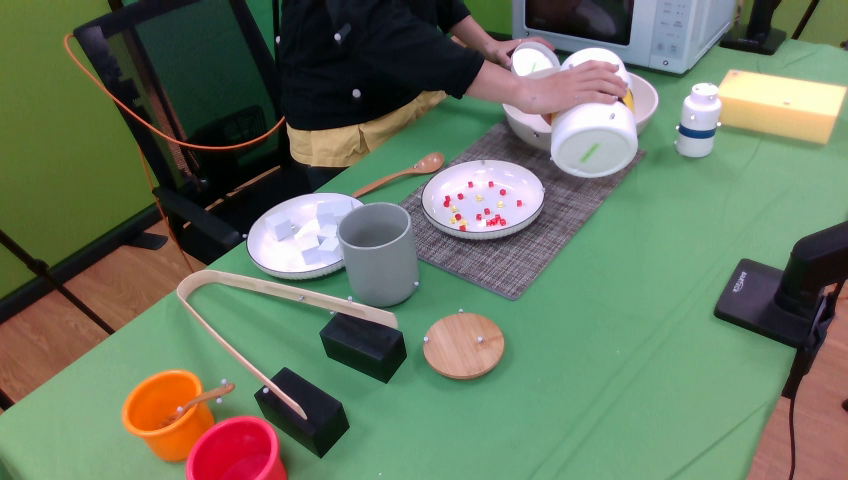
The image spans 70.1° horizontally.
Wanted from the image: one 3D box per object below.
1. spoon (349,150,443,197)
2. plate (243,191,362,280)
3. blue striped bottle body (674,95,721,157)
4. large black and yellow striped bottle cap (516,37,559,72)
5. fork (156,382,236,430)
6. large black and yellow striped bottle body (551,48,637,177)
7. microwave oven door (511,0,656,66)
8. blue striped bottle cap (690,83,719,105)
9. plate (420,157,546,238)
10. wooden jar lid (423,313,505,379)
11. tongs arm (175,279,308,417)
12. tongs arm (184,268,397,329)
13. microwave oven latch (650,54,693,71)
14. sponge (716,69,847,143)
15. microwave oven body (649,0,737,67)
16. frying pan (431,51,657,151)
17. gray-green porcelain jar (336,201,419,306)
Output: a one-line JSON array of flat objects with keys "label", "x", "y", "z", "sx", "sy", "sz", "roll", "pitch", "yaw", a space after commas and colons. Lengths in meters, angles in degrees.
[{"label": "spoon", "x": -0.051, "y": -0.123, "z": 1.120, "sx": 0.194, "sy": 0.022, "sz": 0.041, "roll": -22, "pitch": 59, "yaw": -18}, {"label": "plate", "x": -0.188, "y": -0.005, "z": 0.992, "sx": 0.207, "sy": 0.039, "sz": 0.206, "roll": -4, "pitch": 41, "yaw": 4}, {"label": "blue striped bottle body", "x": 0.486, "y": -0.213, "z": 1.071, "sx": 0.063, "sy": 0.121, "sz": 0.063, "roll": -4, "pitch": 41, "yaw": 4}, {"label": "large black and yellow striped bottle cap", "x": 0.251, "y": -0.395, "z": 1.330, "sx": 0.116, "sy": 0.018, "sz": 0.114, "roll": 18, "pitch": 56, "yaw": -28}, {"label": "fork", "x": -0.262, "y": 0.189, "z": 0.690, "sx": 0.018, "sy": 0.206, "sz": 0.028, "roll": 49, "pitch": 43, "yaw": -7}, {"label": "large black and yellow striped bottle body", "x": 0.275, "y": -0.210, "z": 0.986, "sx": 0.130, "sy": 0.131, "sz": 0.183, "roll": 2, "pitch": 57, "yaw": 10}, {"label": "microwave oven door", "x": 0.350, "y": -0.539, "z": 1.349, "sx": 0.353, "sy": 0.245, "sz": 0.039, "roll": 24, "pitch": 50, "yaw": 31}, {"label": "blue striped bottle cap", "x": 0.481, "y": -0.251, "z": 1.038, "sx": 0.044, "sy": 0.021, "sz": 0.044, "roll": -5, "pitch": 40, "yaw": 5}, {"label": "plate", "x": 0.099, "y": -0.067, "z": 1.017, "sx": 0.209, "sy": 0.038, "sz": 0.208, "roll": -4, "pitch": 40, "yaw": 4}, {"label": "wooden jar lid", "x": 0.053, "y": 0.142, "z": 0.800, "sx": 0.108, "sy": 0.021, "sz": 0.108, "roll": -5, "pitch": 39, "yaw": 4}, {"label": "tongs arm", "x": -0.255, "y": 0.131, "z": 0.800, "sx": 0.028, "sy": 0.028, "sz": 0.384, "roll": -40, "pitch": 40, "yaw": -24}, {"label": "tongs arm", "x": -0.203, "y": 0.084, "z": 0.847, "sx": 0.382, "sy": 0.027, "sz": 0.051, "roll": 11, "pitch": 44, "yaw": 35}, {"label": "microwave oven latch", "x": 0.531, "y": -0.386, "z": 1.301, "sx": 0.078, "sy": 0.029, "sz": 0.030, "roll": 26, "pitch": 51, "yaw": 33}, {"label": "sponge", "x": 0.663, "y": -0.256, "z": 1.142, "sx": 0.205, "sy": 0.061, "sz": 0.118, "roll": 19, "pitch": 47, "yaw": 28}, {"label": "microwave oven body", "x": 0.475, "y": -0.602, "z": 1.411, "sx": 0.438, "sy": 0.261, "sz": 0.327, "roll": 23, "pitch": 50, "yaw": 32}, {"label": "frying pan", "x": 0.216, "y": -0.303, "z": 1.223, "sx": 0.484, "sy": 0.103, "sz": 0.308, "roll": 30, "pitch": 50, "yaw": 24}, {"label": "gray-green porcelain jar", "x": -0.064, "y": 0.024, "z": 0.872, "sx": 0.106, "sy": 0.127, "sz": 0.105, "roll": -4, "pitch": 41, "yaw": 4}]
